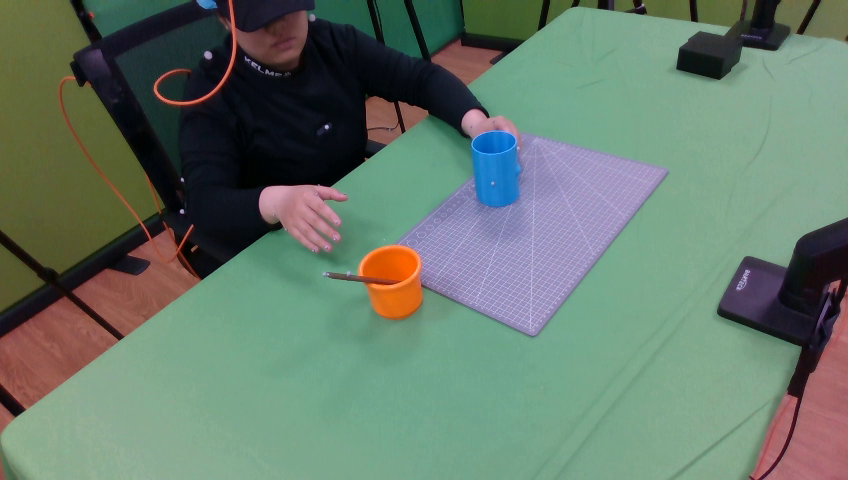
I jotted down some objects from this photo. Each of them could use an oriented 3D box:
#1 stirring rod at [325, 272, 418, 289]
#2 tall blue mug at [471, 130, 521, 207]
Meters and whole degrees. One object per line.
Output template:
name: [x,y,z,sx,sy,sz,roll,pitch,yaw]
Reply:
stirring rod: [-0.069,0.057,0.840,0.014,0.006,0.178,27,9,39]
tall blue mug: [0.121,-0.131,1.044,0.078,0.108,0.106,-13,40,-3]
